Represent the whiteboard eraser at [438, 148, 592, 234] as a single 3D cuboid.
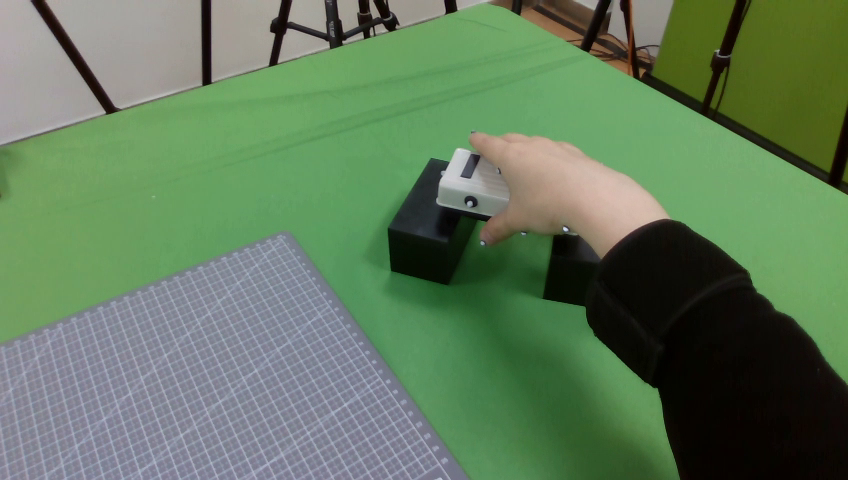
[{"bbox_3d":[0.071,-0.037,0.475,0.112,0.042,0.055,12,43,13],"label":"whiteboard eraser"}]
